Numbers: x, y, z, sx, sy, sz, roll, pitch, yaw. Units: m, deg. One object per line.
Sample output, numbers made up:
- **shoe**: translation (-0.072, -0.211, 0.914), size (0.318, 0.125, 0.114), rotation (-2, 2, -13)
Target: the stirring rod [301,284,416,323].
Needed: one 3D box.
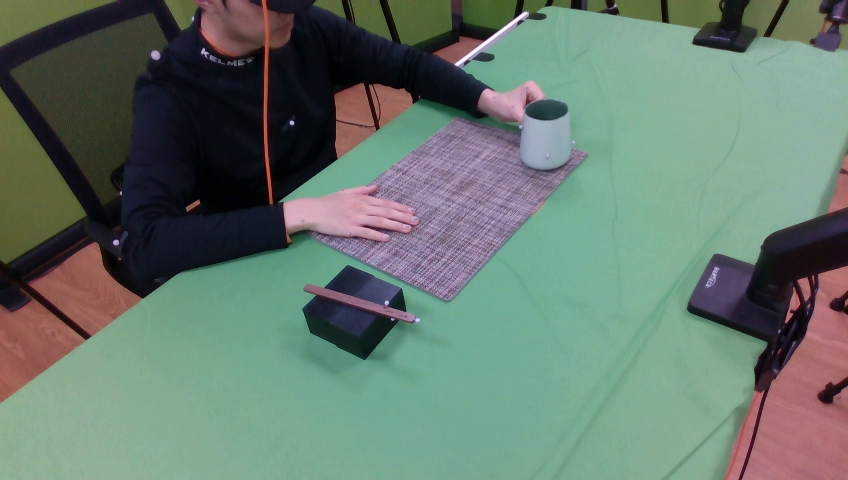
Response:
- **stirring rod**: translation (-0.091, 0.085, 0.819), size (0.175, 0.006, 0.014), rotation (13, 46, 22)

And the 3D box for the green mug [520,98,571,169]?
- **green mug**: translation (0.216, -0.200, 1.100), size (0.093, 0.105, 0.124), rotation (-14, 41, -7)
